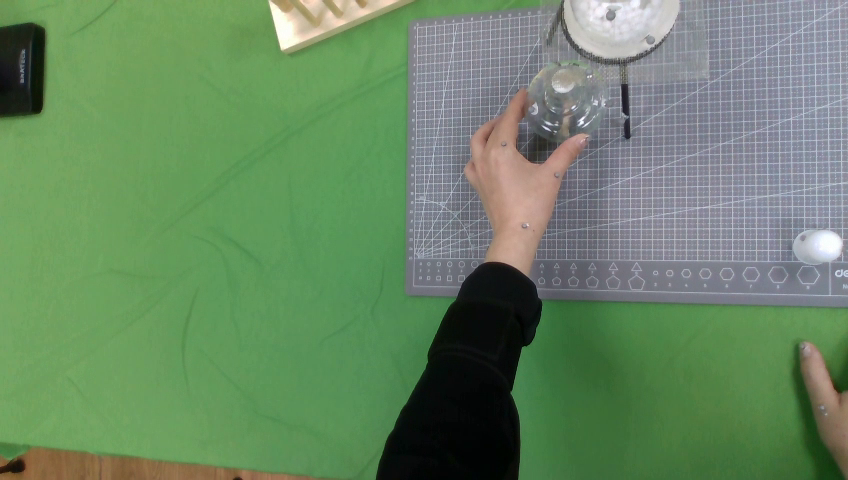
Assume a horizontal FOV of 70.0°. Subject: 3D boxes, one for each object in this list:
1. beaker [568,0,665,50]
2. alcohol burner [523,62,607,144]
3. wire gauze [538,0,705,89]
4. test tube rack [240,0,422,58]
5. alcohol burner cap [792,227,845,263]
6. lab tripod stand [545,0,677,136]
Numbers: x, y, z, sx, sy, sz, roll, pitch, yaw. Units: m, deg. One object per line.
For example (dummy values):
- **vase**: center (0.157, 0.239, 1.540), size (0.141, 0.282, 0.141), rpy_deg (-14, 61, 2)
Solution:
- **beaker**: center (0.134, -0.184, 0.429), size (0.083, 0.100, 0.074), rpy_deg (14, 91, 17)
- **alcohol burner**: center (0.129, -0.130, 0.558), size (0.077, 0.119, 0.078), rpy_deg (-1, 86, 15)
- **wire gauze**: center (0.153, -0.181, 0.474), size (0.125, 0.011, 0.121), rpy_deg (-1, 91, 14)
- **test tube rack**: center (-0.069, -0.281, 0.640), size (0.242, 0.085, 0.066), rpy_deg (-18, 82, 15)
- **alcohol burner cap**: center (0.344, 0.003, 0.526), size (0.034, 0.048, 0.034), rpy_deg (-1, 87, 17)
- **lab tripod stand**: center (0.171, -0.176, 0.537), size (0.148, 0.132, 0.148), rpy_deg (-1, 88, 15)
